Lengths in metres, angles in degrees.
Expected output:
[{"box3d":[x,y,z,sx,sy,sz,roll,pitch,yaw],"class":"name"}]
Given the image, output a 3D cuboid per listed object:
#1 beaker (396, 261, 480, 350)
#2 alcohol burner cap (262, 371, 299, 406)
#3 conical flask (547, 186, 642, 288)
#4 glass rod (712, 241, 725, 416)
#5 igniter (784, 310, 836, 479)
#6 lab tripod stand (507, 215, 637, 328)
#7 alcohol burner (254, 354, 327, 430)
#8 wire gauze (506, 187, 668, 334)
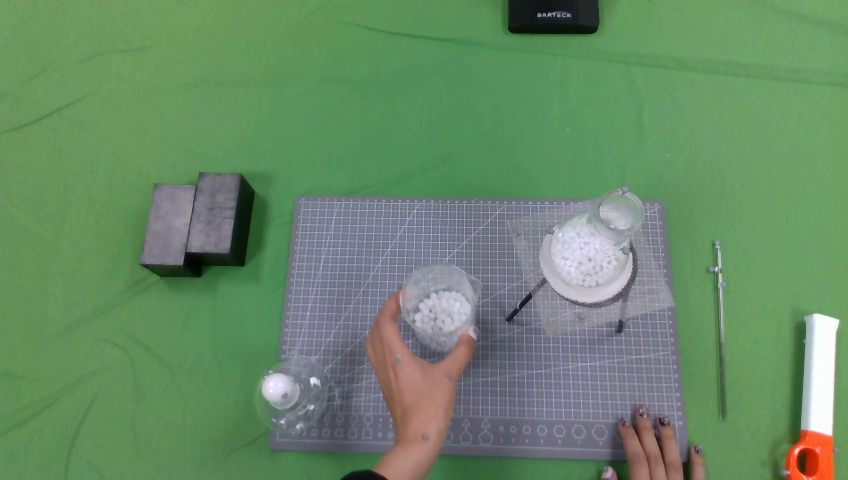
[{"box3d":[0.019,0.070,0.625,0.084,0.101,0.073,-22,69,-3],"class":"beaker"},{"box3d":[-0.141,0.142,0.589,0.034,0.048,0.033,1,70,-3],"class":"alcohol burner cap"},{"box3d":[0.152,-0.006,0.522,0.075,0.122,0.075,-1,74,2],"class":"conical flask"},{"box3d":[0.331,0.095,0.682,0.008,0.008,0.198,5,72,4],"class":"glass rod"},{"box3d":[0.406,0.208,0.632,0.057,0.025,0.275,16,73,-3],"class":"igniter"},{"box3d":[0.158,0.041,0.638,0.148,0.132,0.147,-1,73,3],"class":"lab tripod stand"},{"box3d":[-0.140,0.155,0.623,0.078,0.120,0.077,0,73,1],"class":"alcohol burner"},{"box3d":[0.154,0.018,0.576,0.125,0.011,0.120,-14,75,-4],"class":"wire gauze"}]
